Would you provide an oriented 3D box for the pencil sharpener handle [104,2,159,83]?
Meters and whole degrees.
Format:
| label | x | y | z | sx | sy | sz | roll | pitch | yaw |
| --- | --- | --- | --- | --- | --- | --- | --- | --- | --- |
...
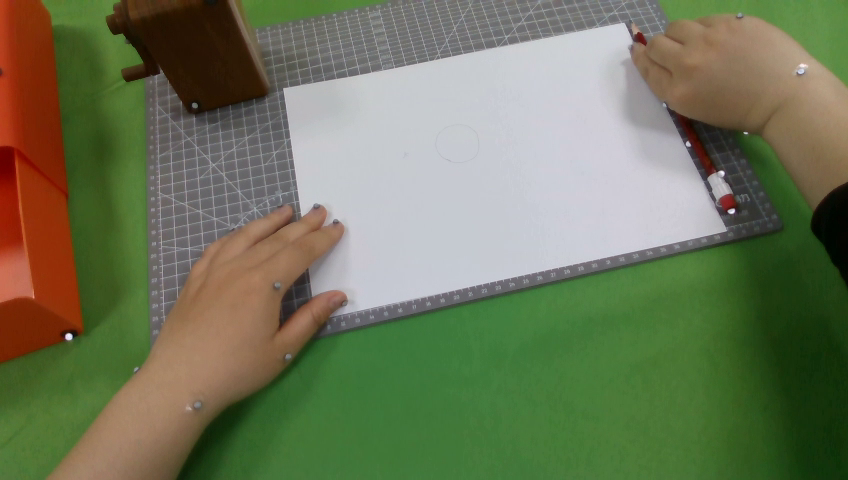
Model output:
| label | x | y | z | sx | sy | sz | roll | pitch | yaw |
| --- | --- | --- | --- | --- | --- | --- | --- | --- | --- |
| pencil sharpener handle | -0.224 | -0.146 | 0.452 | 0.031 | 0.068 | 0.035 | -18 | 60 | -5 |

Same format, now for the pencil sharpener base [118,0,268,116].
| label | x | y | z | sx | sy | sz | roll | pitch | yaw |
| --- | --- | --- | --- | --- | --- | --- | --- | --- | --- |
| pencil sharpener base | -0.175 | -0.157 | 0.468 | 0.077 | 0.108 | 0.061 | -18 | 64 | -5 |

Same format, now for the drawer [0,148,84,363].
| label | x | y | z | sx | sy | sz | roll | pitch | yaw |
| --- | --- | --- | --- | --- | --- | --- | --- | --- | --- |
| drawer | -0.359 | -0.001 | 0.419 | 0.194 | 0.074 | 0.209 | -20 | 64 | -7 |

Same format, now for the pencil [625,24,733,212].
| label | x | y | z | sx | sy | sz | roll | pitch | yaw |
| --- | --- | --- | --- | --- | --- | --- | --- | --- | --- |
| pencil | 0.195 | -0.104 | 0.477 | 0.012 | 0.012 | 0.192 | -13 | 62 | -3 |

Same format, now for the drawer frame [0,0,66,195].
| label | x | y | z | sx | sy | sz | roll | pitch | yaw |
| --- | --- | --- | --- | --- | --- | --- | --- | --- | --- |
| drawer frame | -0.400 | -0.099 | 0.467 | 0.202 | 0.083 | 0.211 | -19 | 63 | -6 |
